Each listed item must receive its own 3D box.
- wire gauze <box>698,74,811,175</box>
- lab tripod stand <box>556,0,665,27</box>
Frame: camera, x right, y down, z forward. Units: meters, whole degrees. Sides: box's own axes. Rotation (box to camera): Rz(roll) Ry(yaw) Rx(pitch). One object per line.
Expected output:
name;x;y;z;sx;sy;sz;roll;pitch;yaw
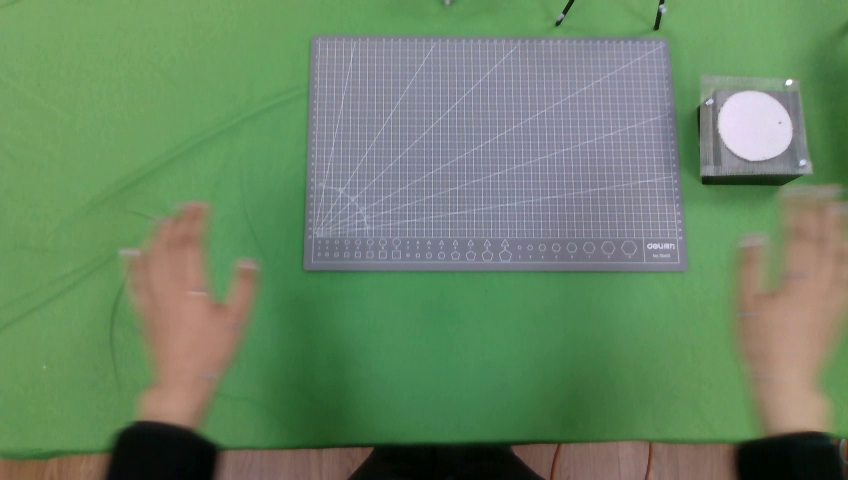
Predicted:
wire gauze;0.376;-0.132;0.695;0.121;0.011;0.124;3;78;2
lab tripod stand;0.237;-0.322;0.715;0.148;0.132;0.147;1;78;-3
